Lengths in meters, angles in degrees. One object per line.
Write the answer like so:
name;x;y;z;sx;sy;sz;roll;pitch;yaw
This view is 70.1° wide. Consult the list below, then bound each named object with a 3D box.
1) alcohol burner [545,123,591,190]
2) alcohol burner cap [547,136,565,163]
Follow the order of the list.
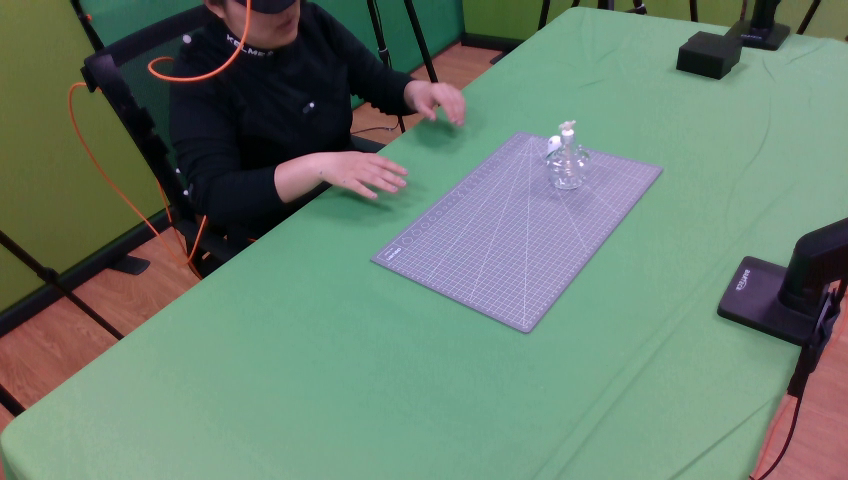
alcohol burner;0.247;-0.147;1.034;0.078;0.120;0.077;-7;41;6
alcohol burner cap;0.245;-0.170;1.118;0.034;0.048;0.033;-6;40;5
